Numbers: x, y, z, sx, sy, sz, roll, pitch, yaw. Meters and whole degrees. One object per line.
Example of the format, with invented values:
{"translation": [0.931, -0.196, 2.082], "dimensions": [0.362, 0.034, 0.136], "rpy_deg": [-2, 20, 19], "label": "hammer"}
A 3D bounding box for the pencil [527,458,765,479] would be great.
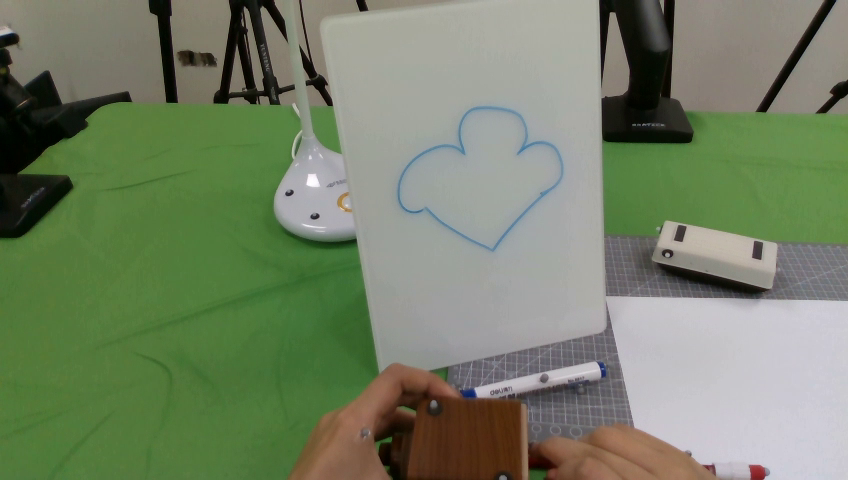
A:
{"translation": [0.104, 0.137, 0.368], "dimensions": [0.194, 0.012, 0.012], "rpy_deg": [-1, 38, 6], "label": "pencil"}

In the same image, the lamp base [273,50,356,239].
{"translation": [-0.117, -0.118, 0.705], "dimensions": [0.161, 0.182, 0.177], "rpy_deg": [-30, 43, -30], "label": "lamp base"}

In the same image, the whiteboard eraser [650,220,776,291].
{"translation": [0.293, 0.016, 0.617], "dimensions": [0.112, 0.042, 0.055], "rpy_deg": [15, 43, 21], "label": "whiteboard eraser"}

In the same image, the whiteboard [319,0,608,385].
{"translation": [0.036, -0.055, 0.562], "dimensions": [0.217, 0.307, 0.142], "rpy_deg": [-11, 19, -8], "label": "whiteboard"}

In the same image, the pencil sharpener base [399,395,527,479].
{"translation": [0.028, 0.156, 0.396], "dimensions": [0.076, 0.108, 0.061], "rpy_deg": [0, 38, 8], "label": "pencil sharpener base"}

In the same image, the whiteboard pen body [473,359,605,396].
{"translation": [0.085, 0.122, 0.509], "dimensions": [0.141, 0.017, 0.017], "rpy_deg": [-11, 39, -8], "label": "whiteboard pen body"}

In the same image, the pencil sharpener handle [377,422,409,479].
{"translation": [-0.025, 0.149, 0.391], "dimensions": [0.030, 0.068, 0.036], "rpy_deg": [0, 23, 8], "label": "pencil sharpener handle"}

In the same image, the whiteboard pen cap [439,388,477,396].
{"translation": [0.028, 0.133, 0.500], "dimensions": [0.033, 0.018, 0.018], "rpy_deg": [-11, 39, -8], "label": "whiteboard pen cap"}
